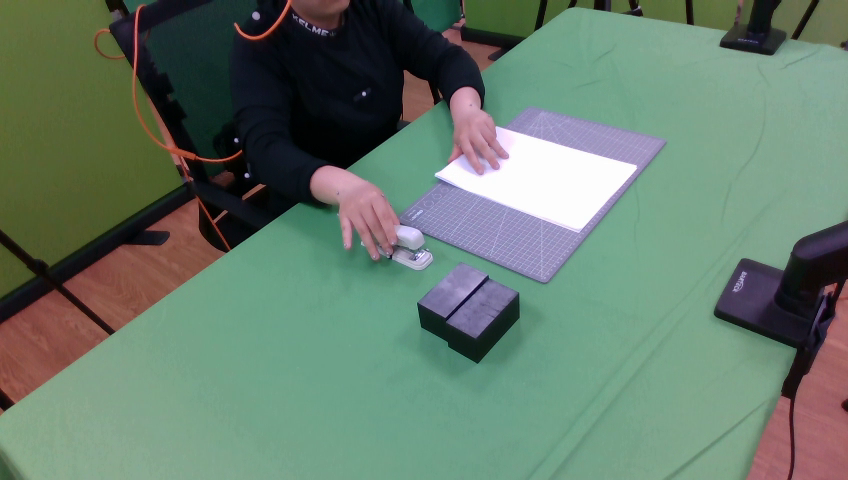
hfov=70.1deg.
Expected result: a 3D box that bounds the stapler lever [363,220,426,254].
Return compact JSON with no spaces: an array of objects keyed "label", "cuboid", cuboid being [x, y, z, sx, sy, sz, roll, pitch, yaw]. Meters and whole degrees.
[{"label":"stapler lever","cuboid":[-0.048,-0.011,0.959,0.117,0.040,0.027,21,47,32]}]

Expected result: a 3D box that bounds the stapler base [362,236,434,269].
[{"label":"stapler base","cuboid":[-0.043,0.009,0.974,0.129,0.024,0.041,21,47,32]}]
